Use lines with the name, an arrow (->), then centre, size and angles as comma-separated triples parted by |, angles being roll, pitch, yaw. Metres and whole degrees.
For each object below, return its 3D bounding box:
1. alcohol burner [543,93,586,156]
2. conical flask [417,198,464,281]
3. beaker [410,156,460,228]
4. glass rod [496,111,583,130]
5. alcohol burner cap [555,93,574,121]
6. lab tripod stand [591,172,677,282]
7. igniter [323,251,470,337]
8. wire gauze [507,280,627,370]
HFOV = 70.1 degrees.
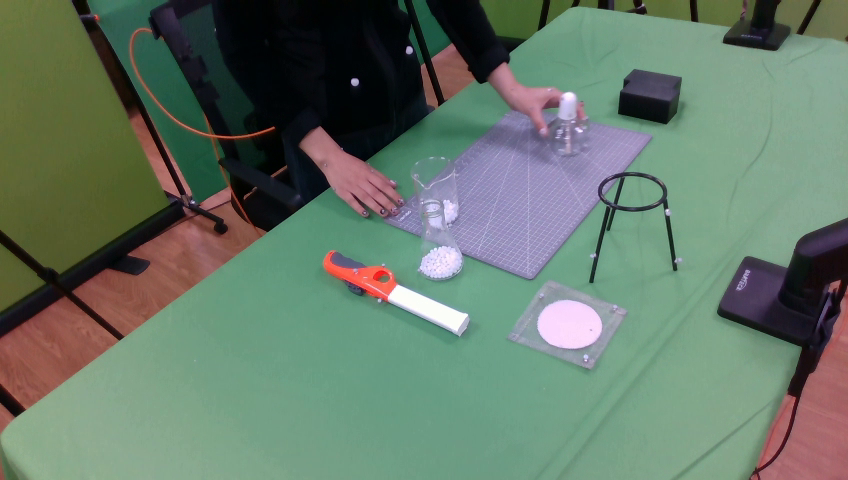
alcohol burner -> 0.259, -0.216, 1.113 | 0.078, 0.119, 0.077 | -6, 40, 6
conical flask -> 0.019, -0.004, 0.907 | 0.075, 0.122, 0.075 | -5, 40, 5
beaker -> 0.020, -0.076, 1.006 | 0.074, 0.101, 0.084 | 3, 42, 15
glass rod -> 0.232, -0.244, 1.234 | 0.198, 0.008, 0.008 | 19, 48, 34
alcohol burner cap -> 0.254, -0.241, 1.088 | 0.034, 0.048, 0.033 | -4, 47, 5
lab tripod stand -> 0.292, -0.022, 0.867 | 0.148, 0.132, 0.147 | -7, 39, 6
igniter -> -0.052, 0.075, 0.901 | 0.274, 0.025, 0.057 | 22, 60, 32
wire gauze -> 0.196, 0.114, 0.823 | 0.120, 0.011, 0.125 | 20, 50, 31
